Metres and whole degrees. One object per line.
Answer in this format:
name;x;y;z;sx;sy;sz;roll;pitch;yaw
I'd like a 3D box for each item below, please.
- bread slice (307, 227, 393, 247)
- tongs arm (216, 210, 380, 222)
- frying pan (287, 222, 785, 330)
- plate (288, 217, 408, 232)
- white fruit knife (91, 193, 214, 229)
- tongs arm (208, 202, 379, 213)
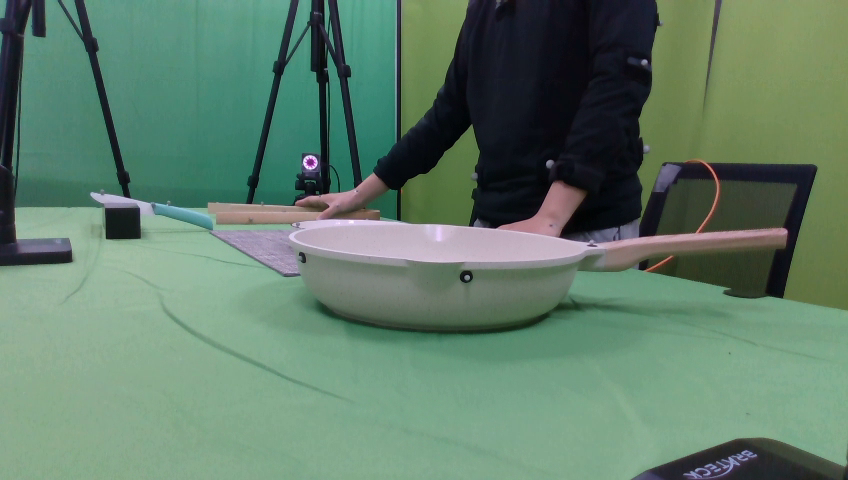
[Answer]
bread slice;-0.115;-0.005;0.950;0.134;0.018;0.107;3;6;-7
tongs arm;-0.262;-0.054;1.334;0.390;0.028;0.028;-2;5;-34
frying pan;0.114;0.016;0.607;0.488;0.102;0.307;-6;8;3
plate;-0.109;-0.007;0.956;0.208;0.039;0.207;2;7;0
white fruit knife;-0.478;-0.055;1.077;0.208;0.027;0.016;14;-1;-30
tongs arm;-0.296;-0.067;1.405;0.386;0.026;0.050;1;7;-22
